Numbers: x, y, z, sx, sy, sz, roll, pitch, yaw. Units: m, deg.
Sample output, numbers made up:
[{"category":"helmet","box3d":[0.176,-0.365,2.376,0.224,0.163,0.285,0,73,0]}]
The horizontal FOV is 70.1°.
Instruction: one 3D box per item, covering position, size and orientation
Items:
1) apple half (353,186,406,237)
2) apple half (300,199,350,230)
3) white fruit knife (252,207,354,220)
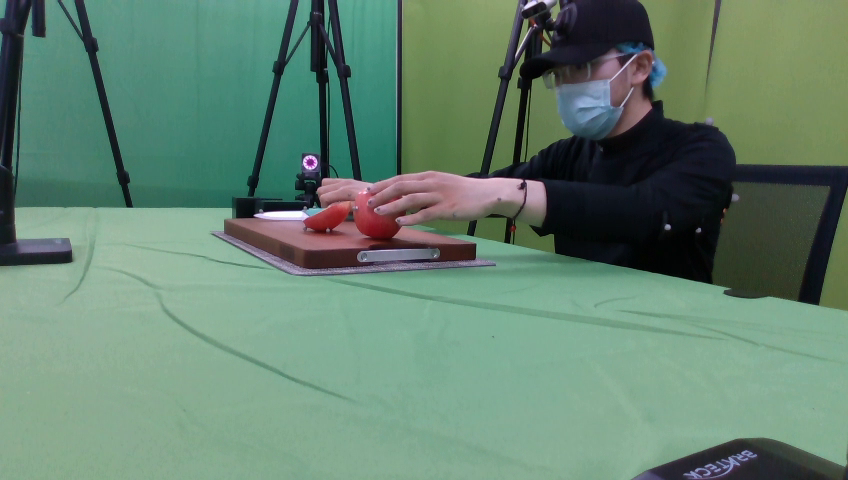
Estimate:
[{"category":"apple half","box3d":[-0.058,-0.040,0.879,0.053,0.074,0.081,14,5,40]},{"category":"apple half","box3d":[-0.147,-0.035,0.941,0.081,0.033,0.081,-22,0,0]},{"category":"white fruit knife","box3d":[-0.215,-0.048,1.109,0.208,0.016,0.027,-3,52,-38]}]
